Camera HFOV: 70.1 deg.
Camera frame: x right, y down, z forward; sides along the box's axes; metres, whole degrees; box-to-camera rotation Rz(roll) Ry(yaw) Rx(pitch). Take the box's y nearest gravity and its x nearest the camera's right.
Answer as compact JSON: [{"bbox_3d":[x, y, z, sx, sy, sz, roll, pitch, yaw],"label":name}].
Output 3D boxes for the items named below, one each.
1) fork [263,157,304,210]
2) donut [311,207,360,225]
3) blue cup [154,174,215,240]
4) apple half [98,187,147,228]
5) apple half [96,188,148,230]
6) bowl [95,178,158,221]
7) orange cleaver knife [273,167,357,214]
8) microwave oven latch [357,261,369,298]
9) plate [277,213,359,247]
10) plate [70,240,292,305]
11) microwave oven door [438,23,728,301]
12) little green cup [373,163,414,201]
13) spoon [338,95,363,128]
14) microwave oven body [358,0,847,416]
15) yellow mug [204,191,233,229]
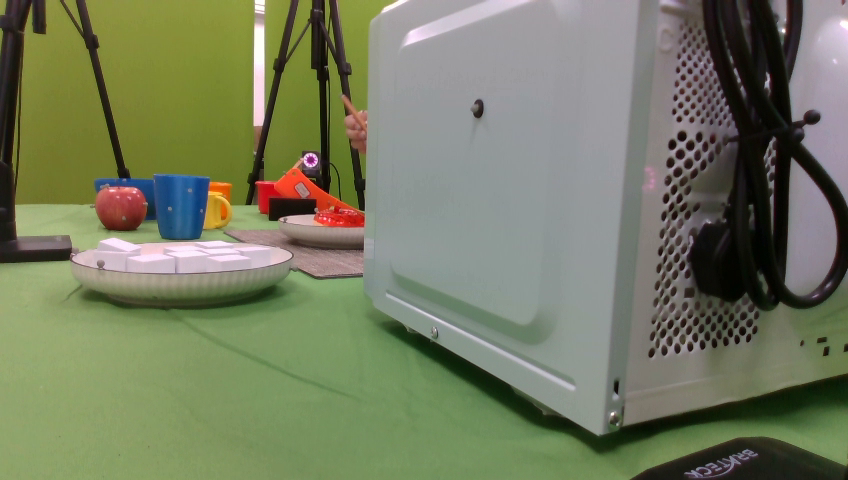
[{"bbox_3d":[-0.345,-0.143,1.505,0.028,0.019,0.207,-4,46,28],"label":"fork"},{"bbox_3d":[-0.137,-0.029,0.995,0.099,0.048,0.099,3,8,0],"label":"donut"},{"bbox_3d":[-0.391,-0.054,0.978,0.093,0.100,0.092,4,6,0],"label":"blue cup"},{"bbox_3d":[-0.534,-0.059,1.071,0.082,0.081,0.032,-1,10,-25],"label":"apple half"},{"bbox_3d":[-0.517,-0.052,1.036,0.081,0.074,0.053,3,10,-26],"label":"apple half"},{"bbox_3d":[-0.576,-0.081,1.217,0.151,0.077,0.151,3,8,0],"label":"bowl"},{"bbox_3d":[-0.238,-0.091,1.381,0.212,0.077,0.012,31,0,-19],"label":"orange cleaver knife"},{"bbox_3d":[-0.019,0.033,0.530,0.079,0.029,0.030,-1,7,-26],"label":"microwave oven latch"},{"bbox_3d":[-0.134,-0.017,0.992,0.209,0.038,0.209,2,7,0],"label":"plate"},{"bbox_3d":[-0.242,0.031,0.618,0.208,0.039,0.207,2,8,0],"label":"plate"},{"bbox_3d":[0.181,-0.072,0.620,0.358,0.243,0.039,-2,8,-29],"label":"microwave oven door"},{"bbox_3d":[-0.047,-0.093,0.979,0.061,0.038,0.061,-30,-5,-2],"label":"little green cup"},{"bbox_3d":[-0.089,-0.165,0.996,0.021,0.193,0.042,-34,-12,22],"label":"spoon"},{"bbox_3d":[0.211,-0.047,0.474,0.444,0.260,0.324,-1,7,-28],"label":"microwave oven body"},{"bbox_3d":[-0.415,-0.057,1.131,0.130,0.064,0.100,6,8,16],"label":"yellow mug"}]
